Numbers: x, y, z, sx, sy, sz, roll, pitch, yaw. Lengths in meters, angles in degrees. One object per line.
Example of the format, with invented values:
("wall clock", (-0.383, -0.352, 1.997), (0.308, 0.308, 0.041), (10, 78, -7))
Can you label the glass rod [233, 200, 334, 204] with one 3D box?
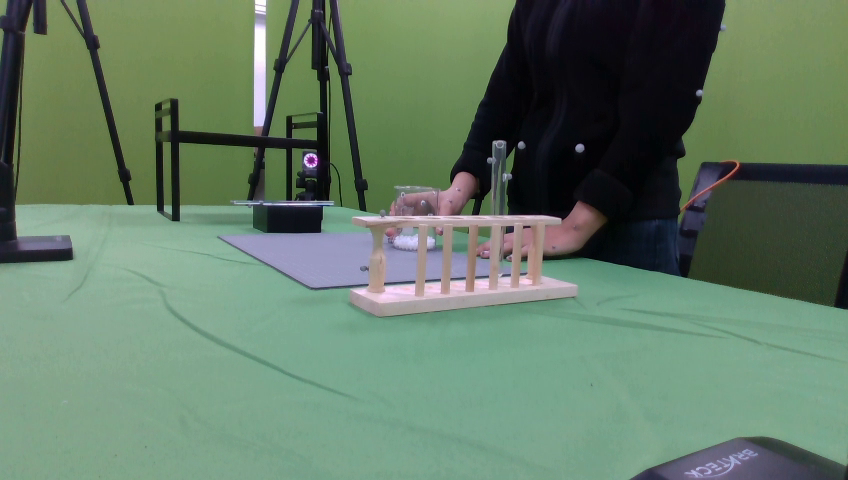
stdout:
("glass rod", (-0.262, -0.071, 1.146), (0.201, 0.008, 0.008), (-2, 9, -34))

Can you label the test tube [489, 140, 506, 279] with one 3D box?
("test tube", (0.079, -0.032, 0.654), (0.017, 0.150, 0.017), (1, 2, 0))

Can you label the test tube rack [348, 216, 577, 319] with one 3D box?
("test tube rack", (0.048, 0.021, 0.619), (0.244, 0.085, 0.066), (-2, 9, -31))

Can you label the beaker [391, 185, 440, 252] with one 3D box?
("beaker", (-0.012, -0.035, 0.958), (0.084, 0.100, 0.073), (-4, 10, -35))
